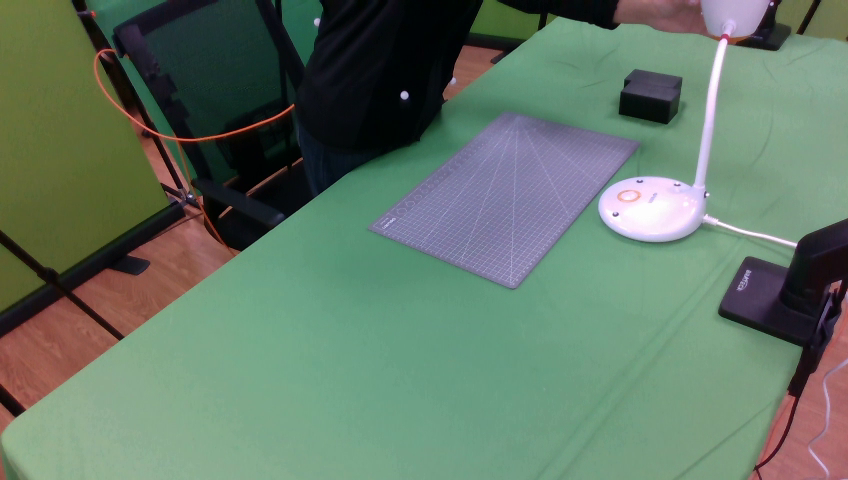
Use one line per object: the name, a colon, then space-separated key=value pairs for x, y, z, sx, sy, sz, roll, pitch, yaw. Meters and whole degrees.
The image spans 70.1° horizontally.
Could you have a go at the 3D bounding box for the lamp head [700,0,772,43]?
lamp head: x=0.472 y=-0.363 z=0.916 sx=0.112 sy=0.123 sz=0.112 roll=-7 pitch=33 yaw=5

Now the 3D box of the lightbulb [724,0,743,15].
lightbulb: x=0.463 y=-0.390 z=0.904 sx=0.059 sy=0.108 sz=0.059 roll=-15 pitch=34 yaw=11

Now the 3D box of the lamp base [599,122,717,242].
lamp base: x=0.367 y=-0.109 z=0.919 sx=0.178 sy=0.181 sz=0.160 roll=13 pitch=45 yaw=20
